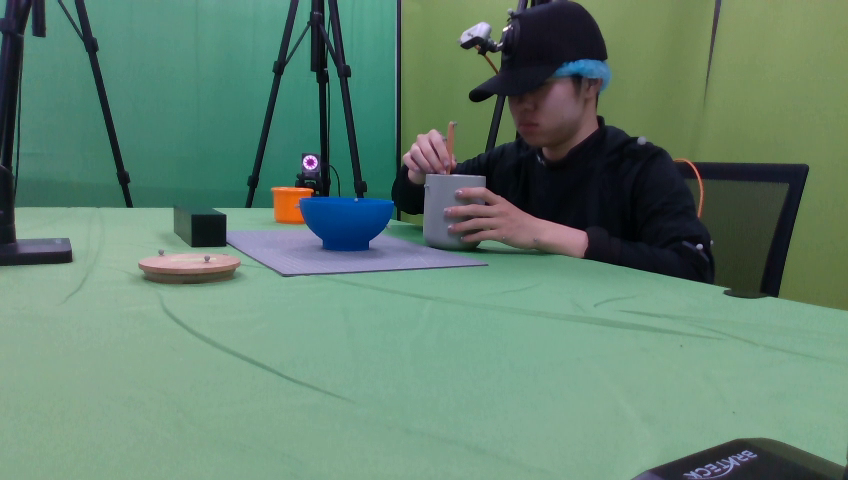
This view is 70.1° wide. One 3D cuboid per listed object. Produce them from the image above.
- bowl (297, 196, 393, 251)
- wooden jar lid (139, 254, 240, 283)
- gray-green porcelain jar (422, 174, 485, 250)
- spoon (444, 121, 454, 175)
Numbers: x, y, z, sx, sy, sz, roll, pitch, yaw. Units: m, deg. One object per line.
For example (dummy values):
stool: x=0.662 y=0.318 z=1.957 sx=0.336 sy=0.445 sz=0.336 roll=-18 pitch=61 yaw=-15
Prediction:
bowl: x=-0.125 y=-0.026 z=0.957 sx=0.151 sy=0.077 sz=0.151 roll=2 pitch=7 yaw=0
wooden jar lid: x=-0.269 y=0.032 z=0.697 sx=0.108 sy=0.020 sz=0.108 roll=2 pitch=5 yaw=0
gray-green porcelain jar: x=0.050 y=-0.049 z=1.040 sx=0.106 sy=0.126 sz=0.106 roll=3 pitch=8 yaw=0
spoon: x=0.033 y=-0.105 z=1.023 sx=0.022 sy=0.193 sz=0.041 roll=13 pitch=-5 yaw=-33
